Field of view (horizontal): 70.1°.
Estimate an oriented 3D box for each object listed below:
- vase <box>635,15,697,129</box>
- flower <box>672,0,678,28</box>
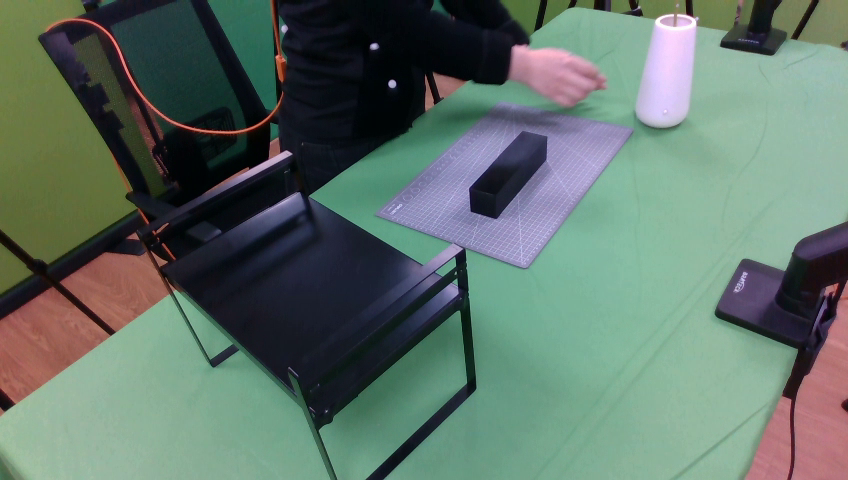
[{"bbox_3d":[0.456,-0.310,1.133,0.098,0.201,0.097,-4,42,4],"label":"vase"},{"bbox_3d":[0.440,-0.361,1.067,0.038,0.364,0.043,-45,58,-13],"label":"flower"}]
